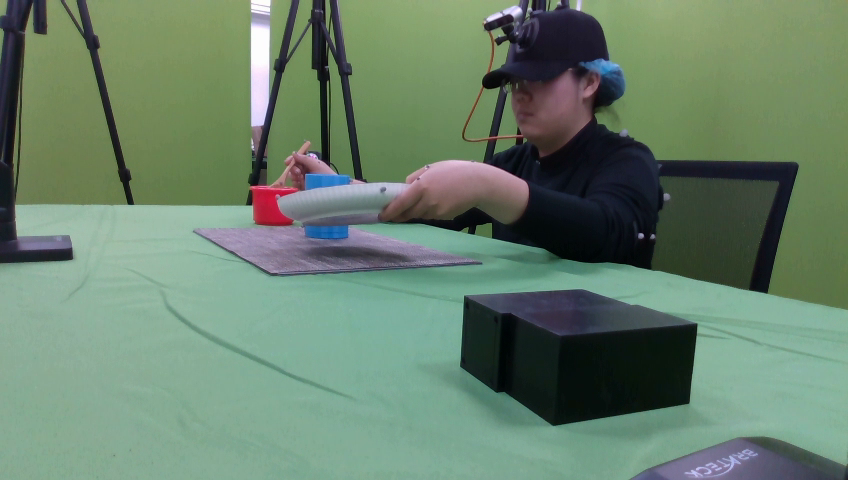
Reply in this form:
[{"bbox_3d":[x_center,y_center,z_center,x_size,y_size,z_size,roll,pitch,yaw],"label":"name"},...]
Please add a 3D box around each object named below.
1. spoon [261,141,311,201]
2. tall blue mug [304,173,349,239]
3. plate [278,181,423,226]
[{"bbox_3d":[-0.284,-0.148,1.270,0.041,0.194,0.021,17,-35,12],"label":"spoon"},{"bbox_3d":[-0.178,-0.063,1.062,0.078,0.108,0.106,-4,10,-38],"label":"tall blue mug"},{"bbox_3d":[-0.103,-0.047,0.873,0.208,0.039,0.207,-6,-3,0],"label":"plate"}]
